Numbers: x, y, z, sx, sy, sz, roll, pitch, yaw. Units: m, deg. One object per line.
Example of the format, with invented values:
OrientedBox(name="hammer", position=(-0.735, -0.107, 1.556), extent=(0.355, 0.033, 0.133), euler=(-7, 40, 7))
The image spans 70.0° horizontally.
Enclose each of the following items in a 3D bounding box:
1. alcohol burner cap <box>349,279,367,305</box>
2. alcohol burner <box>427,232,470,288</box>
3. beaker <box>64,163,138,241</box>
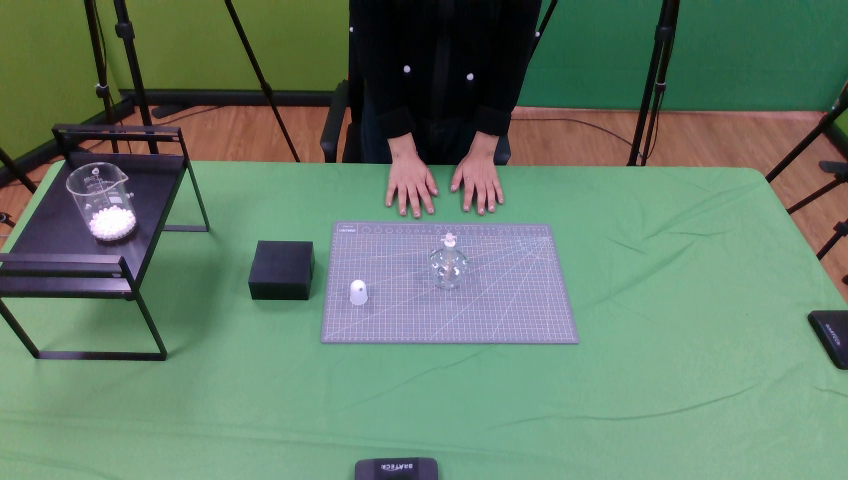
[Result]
OrientedBox(name="alcohol burner cap", position=(-0.118, 0.090, 1.082), extent=(0.034, 0.048, 0.033), euler=(1, 47, -1))
OrientedBox(name="alcohol burner", position=(0.045, 0.032, 1.099), extent=(0.078, 0.120, 0.077), euler=(0, 46, 0))
OrientedBox(name="beaker", position=(-0.477, -0.055, 0.910), extent=(0.084, 0.101, 0.073), euler=(-9, 48, -13))
